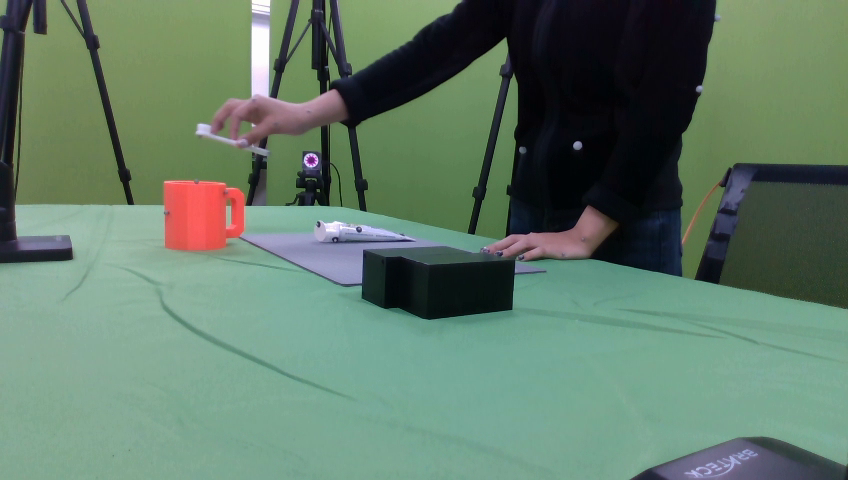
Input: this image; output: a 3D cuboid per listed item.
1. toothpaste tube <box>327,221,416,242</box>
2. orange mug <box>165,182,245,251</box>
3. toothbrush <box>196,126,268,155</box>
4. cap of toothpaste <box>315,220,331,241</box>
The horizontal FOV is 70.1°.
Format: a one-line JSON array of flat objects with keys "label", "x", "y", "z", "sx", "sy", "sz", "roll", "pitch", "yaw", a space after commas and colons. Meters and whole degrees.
[{"label": "toothpaste tube", "x": -0.095, "y": -0.012, "z": 1.026, "sx": 0.166, "sy": 0.034, "sz": 0.055, "roll": 2, "pitch": 13, "yaw": -33}, {"label": "orange mug", "x": -0.326, "y": -0.040, "z": 0.911, "sx": 0.083, "sy": 0.101, "sz": 0.127, "roll": 8, "pitch": 14, "yaw": 37}, {"label": "toothbrush", "x": -0.287, "y": -0.148, "z": 0.920, "sx": 0.014, "sy": 0.016, "sz": 0.182, "roll": -1, "pitch": -2, "yaw": 15}, {"label": "cap of toothpaste", "x": -0.165, "y": -0.016, "z": 0.982, "sx": 0.011, "sy": 0.037, "sz": 0.037, "roll": -9, "pitch": 12, "yaw": -44}]
